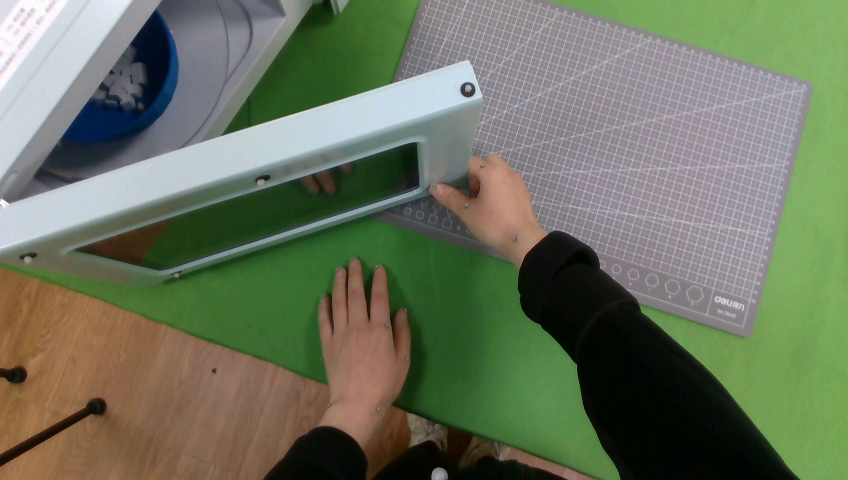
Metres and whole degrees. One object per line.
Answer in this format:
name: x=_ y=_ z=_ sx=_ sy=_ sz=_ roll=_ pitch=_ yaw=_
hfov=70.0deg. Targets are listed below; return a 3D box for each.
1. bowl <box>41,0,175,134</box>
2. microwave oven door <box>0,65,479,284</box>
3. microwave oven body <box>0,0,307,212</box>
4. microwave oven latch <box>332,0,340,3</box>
bowl: x=-0.301 y=-0.162 z=0.575 sx=0.151 sy=0.077 sz=0.150 roll=0 pitch=79 yaw=2
microwave oven door: x=-0.132 y=-0.042 z=0.524 sx=0.356 sy=0.244 sz=0.039 roll=-18 pitch=82 yaw=-3
microwave oven body: x=-0.304 y=-0.244 z=0.555 sx=0.325 sy=0.261 sz=0.441 roll=32 pitch=84 yaw=3
microwave oven latch: x=-0.083 y=-0.301 z=0.661 sx=0.030 sy=0.029 sz=0.079 roll=34 pitch=84 yaw=4
